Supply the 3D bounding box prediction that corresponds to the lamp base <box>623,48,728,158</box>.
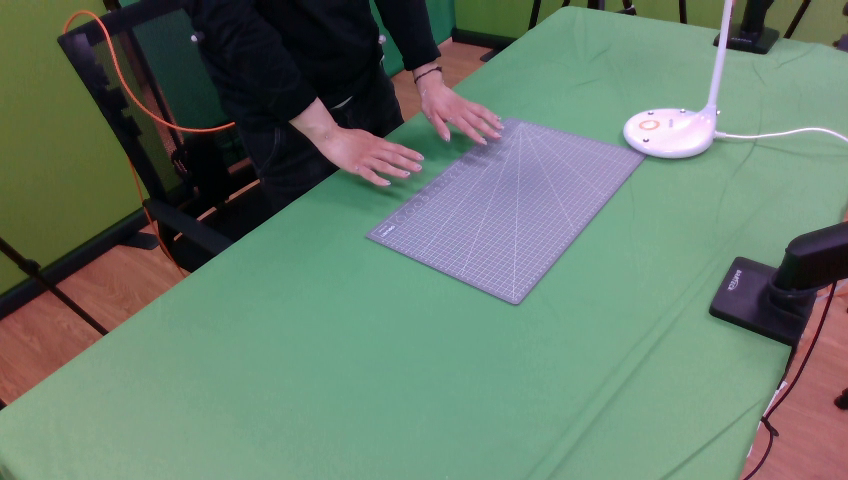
[{"bbox_3d":[0.462,-0.261,1.084,0.179,0.181,0.160,3,42,7],"label":"lamp base"}]
